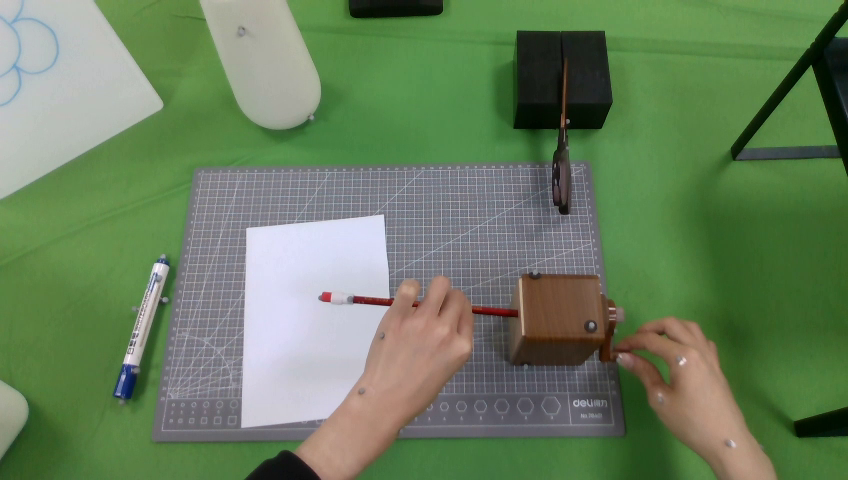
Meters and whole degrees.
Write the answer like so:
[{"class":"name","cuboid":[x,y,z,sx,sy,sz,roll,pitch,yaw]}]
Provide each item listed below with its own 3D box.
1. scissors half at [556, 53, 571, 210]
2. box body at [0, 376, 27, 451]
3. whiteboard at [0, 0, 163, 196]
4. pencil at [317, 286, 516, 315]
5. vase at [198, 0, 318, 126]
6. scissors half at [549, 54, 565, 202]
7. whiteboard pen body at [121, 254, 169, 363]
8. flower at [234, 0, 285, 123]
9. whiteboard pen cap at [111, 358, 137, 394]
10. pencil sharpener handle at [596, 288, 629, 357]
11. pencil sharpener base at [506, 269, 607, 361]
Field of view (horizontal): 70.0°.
[{"class":"scissors half","cuboid":[0.151,-0.119,0.658,0.012,0.040,0.175,-1,86,26]},{"class":"box body","cuboid":[-0.581,0.154,0.514,0.363,0.161,0.253,24,70,11]},{"class":"whiteboard","cuboid":[-0.469,-0.238,0.631,0.217,0.309,0.142,-33,51,-11]},{"class":"pencil","cuboid":[0.002,0.055,0.535,0.194,0.012,0.012,6,67,-1]},{"class":"vase","cuboid":[-0.175,-0.209,0.637,0.098,0.201,0.097,-1,66,2]},{"class":"scissors half","cuboid":[0.143,-0.123,0.640,0.013,0.040,0.174,0,69,21]},{"class":"whiteboard pen body","cuboid":[-0.286,0.079,0.617,0.017,0.017,0.140,5,66,4]},{"class":"flower","cuboid":[-0.185,-0.254,0.566,0.044,0.365,0.038,-8,50,2]},{"class":"whiteboard pen cap","cuboid":[-0.292,0.132,0.593,0.018,0.018,0.033,5,63,4]},{"class":"pencil sharpener handle","cuboid":[0.170,0.075,0.541,0.030,0.068,0.035,0,25,1]},{"class":"pencil sharpener base","cuboid":[0.119,0.072,0.561,0.077,0.108,0.061,0,66,1]}]
